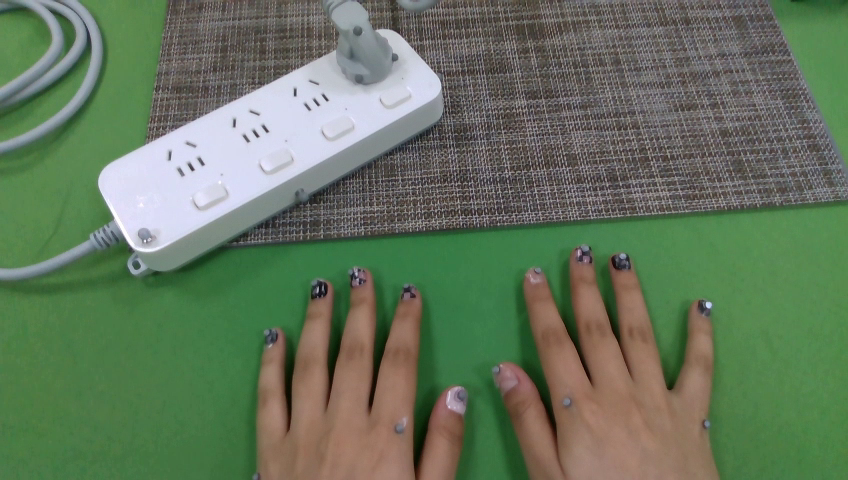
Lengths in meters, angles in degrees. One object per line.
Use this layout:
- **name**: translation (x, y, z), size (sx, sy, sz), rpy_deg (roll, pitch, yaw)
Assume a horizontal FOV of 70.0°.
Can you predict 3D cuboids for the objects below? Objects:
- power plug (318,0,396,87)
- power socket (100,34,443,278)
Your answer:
- **power plug**: translation (-0.044, -0.128, 0.389), size (0.035, 0.053, 0.072), rpy_deg (-22, 66, -10)
- **power socket**: translation (-0.088, -0.059, 0.378), size (0.227, 0.033, 0.071), rpy_deg (-32, 67, -15)
